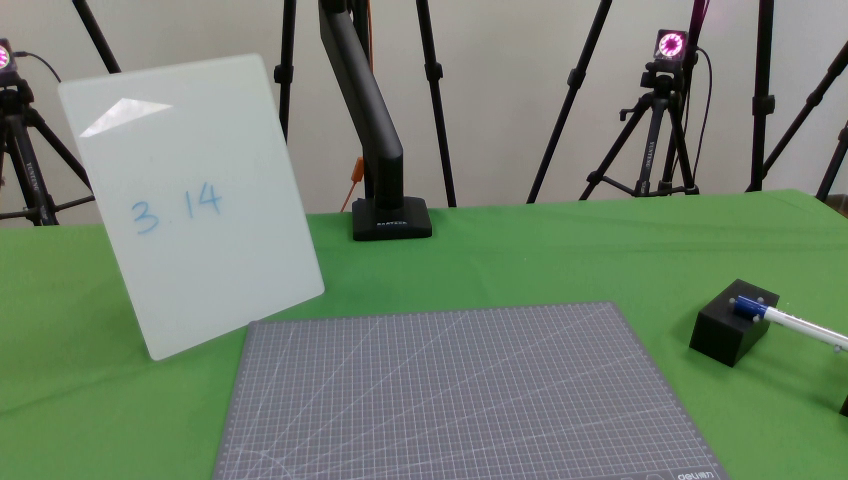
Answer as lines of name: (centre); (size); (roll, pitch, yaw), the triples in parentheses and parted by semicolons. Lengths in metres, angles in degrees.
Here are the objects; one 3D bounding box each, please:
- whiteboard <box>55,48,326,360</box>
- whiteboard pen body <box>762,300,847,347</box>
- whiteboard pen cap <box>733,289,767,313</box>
whiteboard: (-0.280, -0.052, 0.734); (0.218, 0.307, 0.143); (-22, 18, -33)
whiteboard pen body: (0.400, 0.087, 0.630); (0.139, 0.017, 0.017); (25, 38, 36)
whiteboard pen cap: (0.358, 0.068, 0.663); (0.033, 0.018, 0.018); (27, 39, 33)
